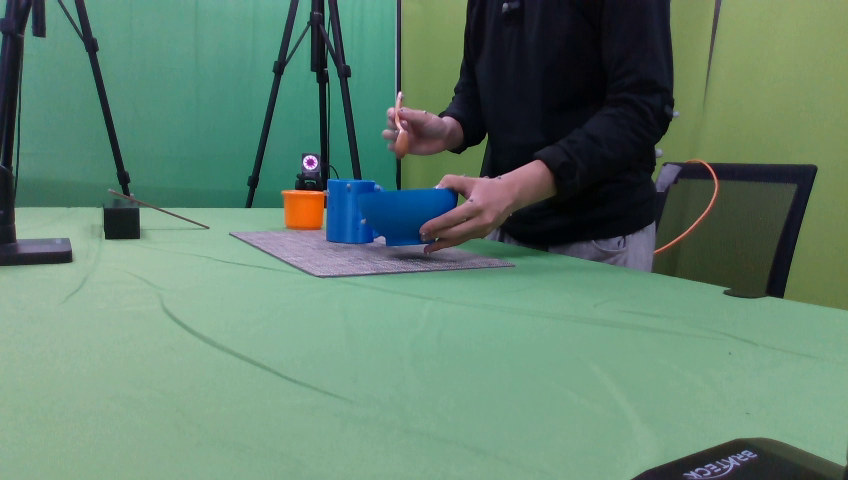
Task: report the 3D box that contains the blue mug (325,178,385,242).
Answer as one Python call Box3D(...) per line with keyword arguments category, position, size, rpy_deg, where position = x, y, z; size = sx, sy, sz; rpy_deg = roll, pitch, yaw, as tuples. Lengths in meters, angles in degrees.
Box3D(category="blue mug", position=(-0.111, -0.052, 1.034), size=(0.116, 0.106, 0.082), rpy_deg=(3, 7, 7))

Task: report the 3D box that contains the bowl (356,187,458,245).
Box3D(category="bowl", position=(-0.023, -0.033, 0.884), size=(0.151, 0.077, 0.151), rpy_deg=(-4, 1, 0))

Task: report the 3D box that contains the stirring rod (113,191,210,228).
Box3D(category="stirring rod", position=(-0.484, -0.055, 1.121), size=(0.177, 0.006, 0.014), rpy_deg=(22, -6, -22))

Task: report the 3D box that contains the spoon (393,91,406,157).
Box3D(category="spoon", position=(-0.043, -0.200, 0.999), size=(0.021, 0.042, 0.193), rpy_deg=(-9, 42, 2))
